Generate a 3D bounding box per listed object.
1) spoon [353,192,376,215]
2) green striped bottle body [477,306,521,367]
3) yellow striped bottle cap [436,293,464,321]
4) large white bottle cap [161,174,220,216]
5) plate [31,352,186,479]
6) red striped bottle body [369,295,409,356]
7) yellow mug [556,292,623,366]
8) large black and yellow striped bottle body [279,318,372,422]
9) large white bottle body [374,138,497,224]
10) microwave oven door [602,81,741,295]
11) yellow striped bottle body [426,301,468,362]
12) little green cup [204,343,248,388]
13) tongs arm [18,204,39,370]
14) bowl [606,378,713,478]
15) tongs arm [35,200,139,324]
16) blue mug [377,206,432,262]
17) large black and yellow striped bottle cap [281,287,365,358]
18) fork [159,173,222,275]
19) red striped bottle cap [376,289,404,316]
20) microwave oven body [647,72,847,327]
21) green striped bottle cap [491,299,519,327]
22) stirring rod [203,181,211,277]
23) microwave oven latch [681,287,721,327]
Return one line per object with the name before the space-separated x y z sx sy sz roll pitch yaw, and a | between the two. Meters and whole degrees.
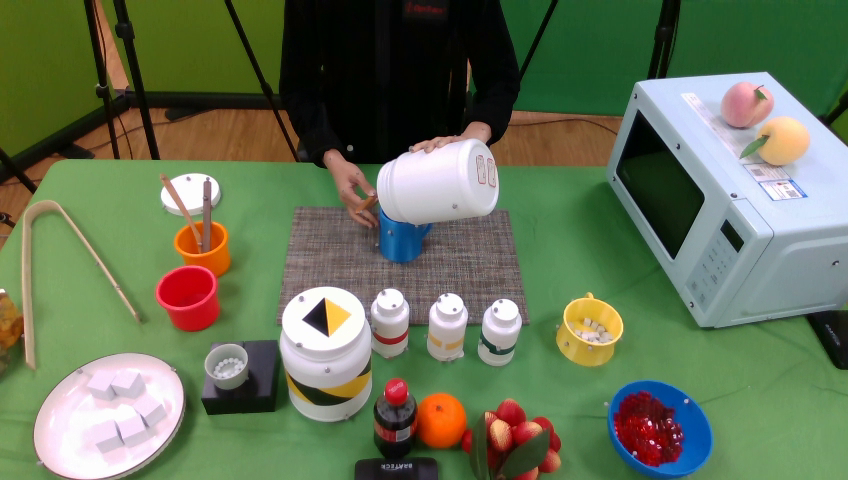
spoon | -0.092 -0.084 1.151 0.041 0.022 0.193 5 20 19
green striped bottle body | 0.124 0.151 0.995 0.063 0.120 0.063 2 46 -2
yellow striped bottle cap | 0.041 0.106 0.959 0.044 0.019 0.044 -1 49 1
large white bottle cap | -0.483 -0.095 1.253 0.115 0.018 0.114 2 46 -2
plate | -0.459 0.262 0.898 0.209 0.038 0.208 2 46 -2
red striped bottle body | -0.058 0.135 0.997 0.063 0.120 0.062 5 48 -5
yellow mug | 0.285 0.145 1.051 0.100 0.064 0.130 7 45 3
large black and yellow striped bottle body | -0.145 0.173 0.908 0.131 0.185 0.130 2 46 -2
large white bottle body | 0.019 -0.097 1.046 0.184 0.131 0.130 -6 39 30
microwave oven door | 0.456 -0.107 1.162 0.039 0.245 0.353 -6 47 -11
yellow striped bottle body | 0.037 0.142 0.996 0.063 0.121 0.062 2 46 -2
little green cup | -0.294 0.190 0.909 0.061 0.039 0.061 1 48 -1
tongs arm | -0.698 0.069 1.069 0.028 0.028 0.385 -20 50 -13
bowl | 0.340 0.292 0.906 0.151 0.077 0.150 2 46 -2
tongs arm | -0.622 0.034 1.105 0.051 0.026 0.382 -32 55 -25
blue mug | -0.033 -0.028 1.159 0.116 0.106 0.082 -21 52 -23
large black and yellow striped bottle cap | -0.141 0.112 0.847 0.115 0.019 0.114 5 45 -4
fork | -0.427 -0.029 1.103 0.028 0.018 0.207 -31 99 -32
red striped bottle cap | -0.054 0.098 0.958 0.044 0.018 0.044 0 48 1
microwave oven body | 0.607 -0.089 1.164 0.326 0.261 0.438 -7 46 -10
green striped bottle cap | 0.128 0.115 0.958 0.044 0.020 0.044 1 47 -1
stirring rod | -0.396 -0.021 1.107 0.014 0.006 0.176 -1 89 -1
microwave oven latch | 0.494 0.119 1.087 0.030 0.029 0.078 -6 46 -9
